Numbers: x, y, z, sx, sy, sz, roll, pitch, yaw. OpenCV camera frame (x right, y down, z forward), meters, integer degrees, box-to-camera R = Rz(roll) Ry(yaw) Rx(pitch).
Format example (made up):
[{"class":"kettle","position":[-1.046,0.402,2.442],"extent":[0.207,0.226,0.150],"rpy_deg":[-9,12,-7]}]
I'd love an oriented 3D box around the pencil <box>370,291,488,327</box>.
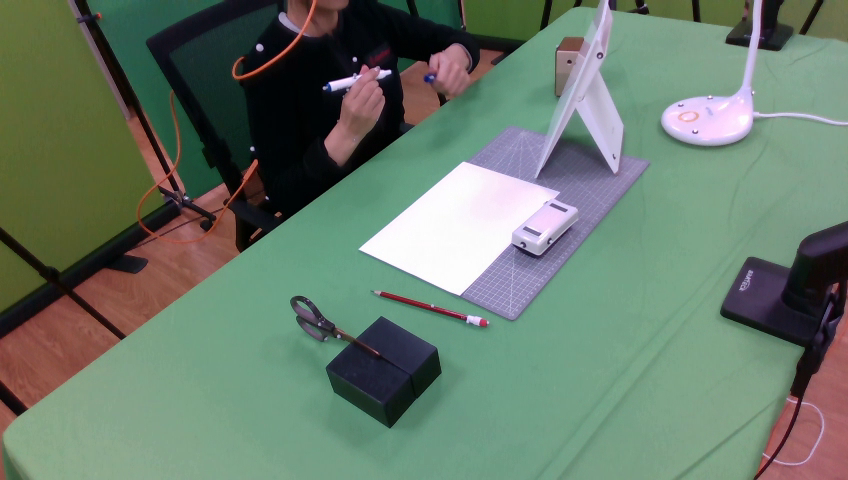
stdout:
[{"class":"pencil","position":[0.003,0.097,0.876],"extent":[0.193,0.012,0.012],"rpy_deg":[13,45,25]}]

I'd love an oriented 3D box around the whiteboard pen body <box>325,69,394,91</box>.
[{"class":"whiteboard pen body","position":[-0.115,-0.295,1.101],"extent":[0.141,0.017,0.017],"rpy_deg":[-22,41,-27]}]

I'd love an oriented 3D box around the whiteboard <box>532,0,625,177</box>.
[{"class":"whiteboard","position":[0.320,-0.258,1.050],"extent":[0.144,0.306,0.217],"rpy_deg":[21,45,5]}]

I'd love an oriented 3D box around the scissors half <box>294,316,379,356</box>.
[{"class":"scissors half","position":[-0.119,0.132,0.813],"extent":[0.174,0.040,0.013],"rpy_deg":[9,32,44]}]

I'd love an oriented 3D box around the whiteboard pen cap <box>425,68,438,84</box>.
[{"class":"whiteboard pen cap","position":[0.014,-0.328,1.211],"extent":[0.018,0.018,0.033],"rpy_deg":[15,54,26]}]

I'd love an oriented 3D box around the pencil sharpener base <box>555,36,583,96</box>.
[{"class":"pencil sharpener base","position":[0.317,-0.371,1.290],"extent":[0.061,0.107,0.076],"rpy_deg":[10,44,22]}]

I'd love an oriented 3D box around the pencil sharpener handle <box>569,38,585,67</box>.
[{"class":"pencil sharpener handle","position":[0.332,-0.413,1.317],"extent":[0.036,0.068,0.030],"rpy_deg":[19,46,13]}]

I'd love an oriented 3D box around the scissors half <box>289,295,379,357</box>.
[{"class":"scissors half","position":[-0.123,0.114,0.803],"extent":[0.174,0.040,0.013],"rpy_deg":[26,48,32]}]

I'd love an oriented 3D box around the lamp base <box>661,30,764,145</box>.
[{"class":"lamp base","position":[0.535,-0.287,1.096],"extent":[0.179,0.181,0.159],"rpy_deg":[-10,40,-4]}]

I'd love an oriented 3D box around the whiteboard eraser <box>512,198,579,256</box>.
[{"class":"whiteboard eraser","position":[0.191,-0.019,0.948],"extent":[0.055,0.042,0.113],"rpy_deg":[26,51,36]}]
